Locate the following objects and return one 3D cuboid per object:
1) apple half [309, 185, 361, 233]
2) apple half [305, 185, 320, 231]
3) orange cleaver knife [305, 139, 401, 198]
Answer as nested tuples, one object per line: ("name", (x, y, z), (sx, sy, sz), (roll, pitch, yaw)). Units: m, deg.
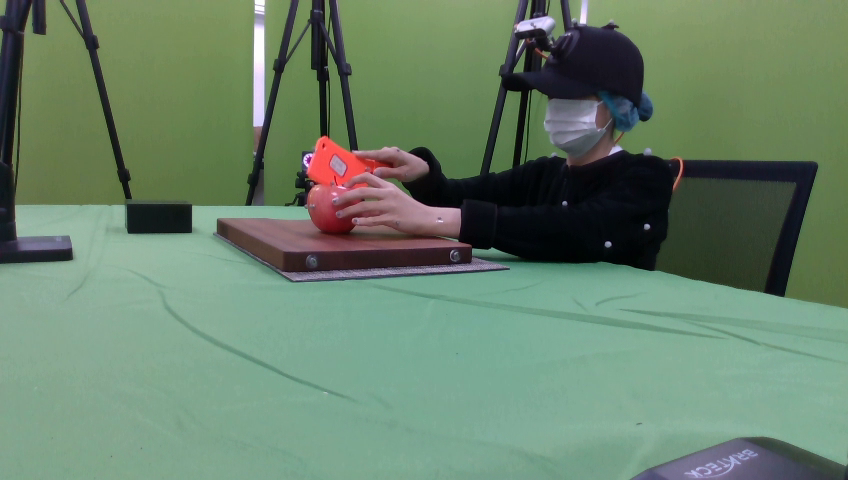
("apple half", (-0.126, -0.046, 0.909), (0.053, 0.074, 0.081), (14, 8, 37))
("apple half", (-0.159, -0.051, 0.933), (0.032, 0.081, 0.082), (8, 9, 36))
("orange cleaver knife", (-0.108, -0.106, 0.965), (0.012, 0.077, 0.212), (7, 0, 36))
